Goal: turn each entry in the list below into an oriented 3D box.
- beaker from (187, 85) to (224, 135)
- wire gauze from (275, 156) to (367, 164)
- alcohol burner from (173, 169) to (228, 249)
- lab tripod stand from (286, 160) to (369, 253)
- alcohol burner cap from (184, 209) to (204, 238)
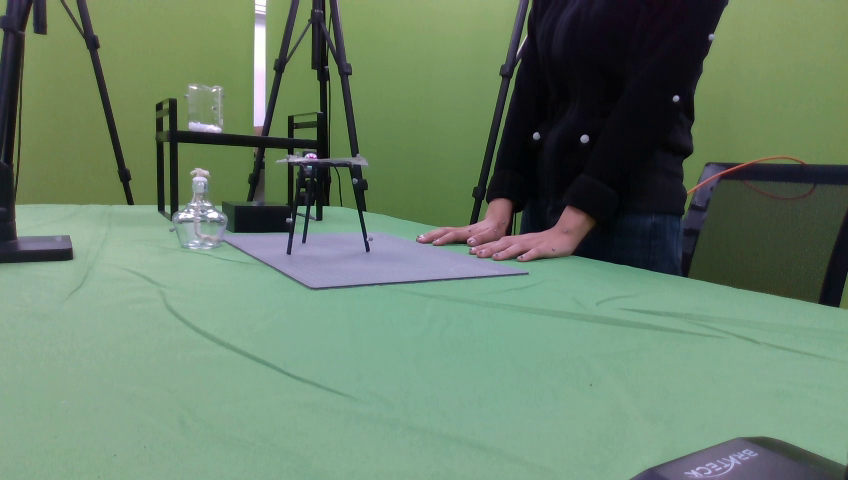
[{"bbox_3d":[-0.466,-0.276,1.296,0.074,0.100,0.083,-3,10,-35],"label":"beaker"},{"bbox_3d":[-0.148,-0.119,0.895,0.121,0.011,0.125,1,7,-3],"label":"wire gauze"},{"bbox_3d":[-0.333,-0.047,0.903,0.078,0.119,0.078,2,6,0],"label":"alcohol burner"},{"bbox_3d":[-0.157,-0.053,0.902,0.148,0.131,0.148,1,7,0],"label":"lab tripod stand"},{"bbox_3d":[-0.389,-0.029,1.025,0.034,0.048,0.034,2,9,0],"label":"alcohol burner cap"}]
